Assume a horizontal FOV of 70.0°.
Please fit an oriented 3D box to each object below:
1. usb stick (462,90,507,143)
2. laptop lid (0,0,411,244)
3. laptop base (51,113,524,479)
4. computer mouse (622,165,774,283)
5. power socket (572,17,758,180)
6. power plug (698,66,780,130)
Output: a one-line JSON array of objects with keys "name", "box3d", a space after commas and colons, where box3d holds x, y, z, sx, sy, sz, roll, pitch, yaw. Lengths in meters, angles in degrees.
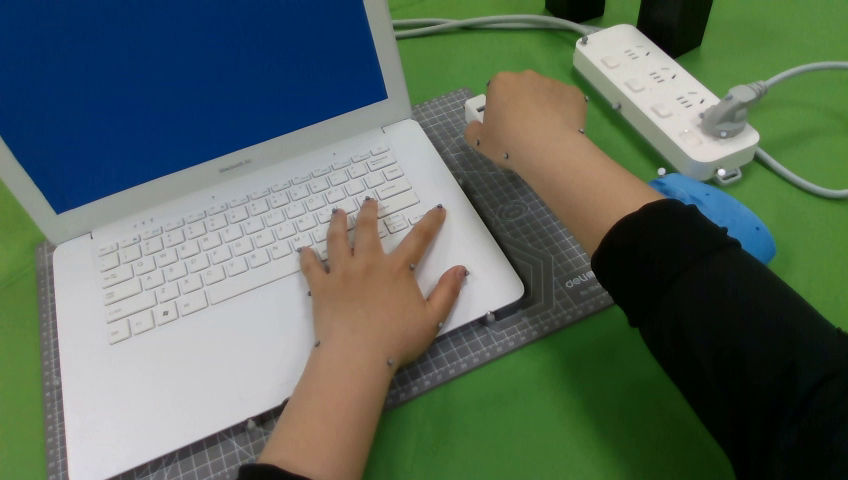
[{"name": "usb stick", "box3d": [0.052, -0.117, 0.556, 0.021, 0.027, 0.058, -26, 52, -10]}, {"name": "laptop lid", "box3d": [-0.194, -0.145, 0.501, 0.357, 0.244, 0.013, -24, 41, -9]}, {"name": "laptop base", "box3d": [-0.124, 0.025, 0.510, 0.355, 0.023, 0.233, -23, 57, -10]}, {"name": "computer mouse", "box3d": [0.218, -0.020, 0.488, 0.063, 0.041, 0.116, -27, 51, -13]}, {"name": "power socket", "box3d": [0.224, -0.144, 0.586, 0.072, 0.033, 0.224, -22, 53, -9]}, {"name": "power plug", "box3d": [0.278, -0.116, 0.531, 0.072, 0.053, 0.035, -13, 55, -4]}]
